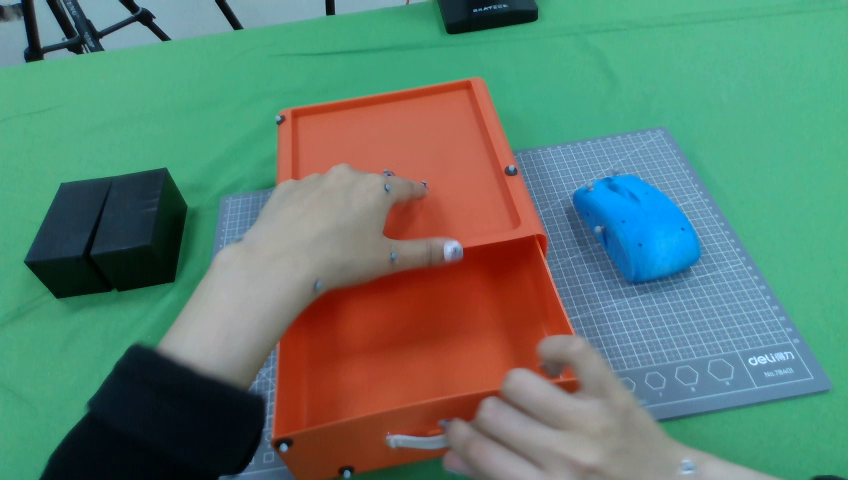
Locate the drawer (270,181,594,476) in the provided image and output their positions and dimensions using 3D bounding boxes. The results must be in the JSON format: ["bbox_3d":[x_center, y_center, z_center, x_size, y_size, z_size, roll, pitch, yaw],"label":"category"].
[{"bbox_3d":[-0.006,0.046,0.443,0.194,0.074,0.209,-11,47,-1],"label":"drawer"}]

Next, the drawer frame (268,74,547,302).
[{"bbox_3d":[-0.023,-0.038,0.518,0.202,0.083,0.211,-11,47,-2],"label":"drawer frame"}]

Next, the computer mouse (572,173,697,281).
[{"bbox_3d":[0.173,-0.019,0.507,0.063,0.041,0.116,-16,44,-5],"label":"computer mouse"}]
